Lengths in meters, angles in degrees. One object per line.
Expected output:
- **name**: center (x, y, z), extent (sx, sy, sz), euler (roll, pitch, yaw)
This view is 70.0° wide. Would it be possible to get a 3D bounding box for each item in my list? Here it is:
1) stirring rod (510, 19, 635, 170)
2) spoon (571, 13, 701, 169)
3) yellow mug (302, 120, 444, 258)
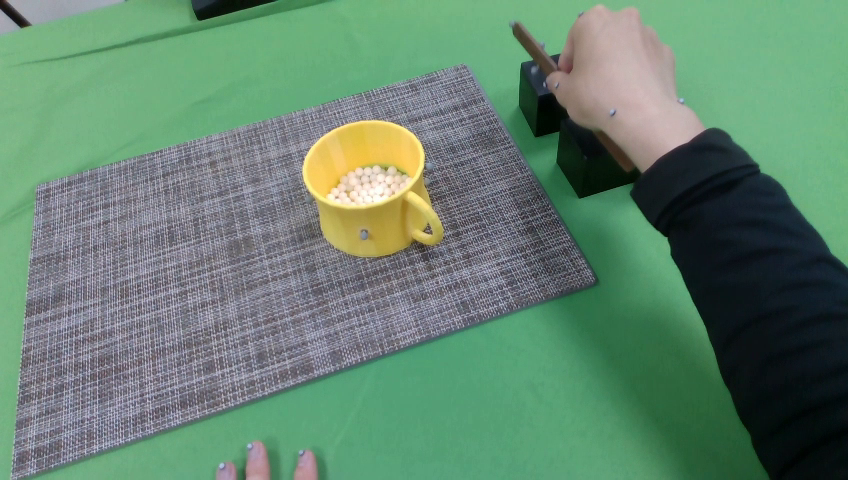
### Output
- **stirring rod**: center (0.118, -0.124, 0.500), extent (0.006, 0.014, 0.174), euler (-19, 62, -24)
- **spoon**: center (0.182, -0.134, 0.525), extent (0.041, 0.022, 0.191), euler (-17, 56, -8)
- **yellow mug**: center (-0.035, -0.036, 0.505), extent (0.130, 0.064, 0.100), euler (33, 63, 25)
